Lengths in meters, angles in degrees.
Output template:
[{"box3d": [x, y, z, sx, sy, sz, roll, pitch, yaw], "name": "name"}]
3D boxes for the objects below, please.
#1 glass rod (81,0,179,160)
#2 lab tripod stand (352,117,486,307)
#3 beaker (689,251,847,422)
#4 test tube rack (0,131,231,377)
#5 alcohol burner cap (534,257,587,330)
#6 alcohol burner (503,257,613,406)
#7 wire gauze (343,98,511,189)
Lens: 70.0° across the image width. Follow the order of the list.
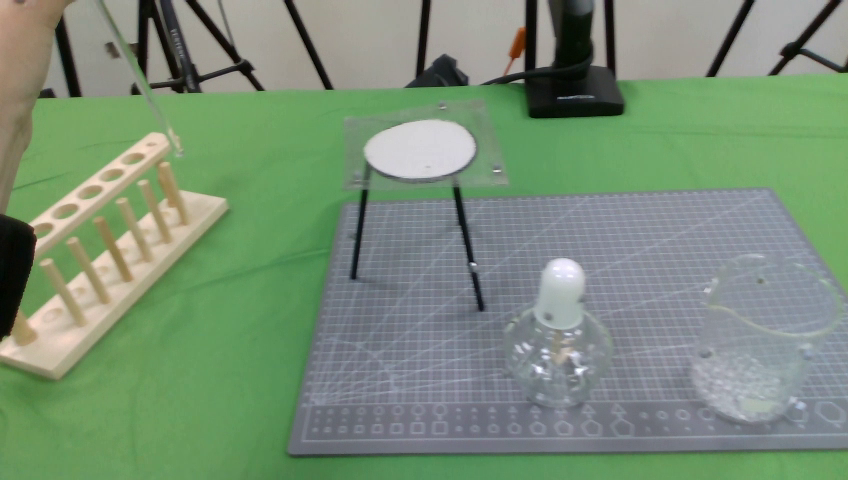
[{"box3d": [-0.180, -0.118, 0.338, 0.008, 0.201, 0.008, -3, 51, 4], "name": "glass rod"}, {"box3d": [0.002, -0.025, 0.519, 0.148, 0.133, 0.147, -3, 42, 3], "name": "lab tripod stand"}, {"box3d": [0.224, 0.070, 0.413, 0.084, 0.101, 0.073, -4, 40, 2], "name": "beaker"}, {"box3d": [-0.285, -0.001, 0.557, 0.066, 0.086, 0.241, 12, 43, 18], "name": "test tube rack"}, {"box3d": [0.092, 0.034, 0.401, 0.034, 0.048, 0.033, 0, 38, 1], "name": "alcohol burner cap"}, {"box3d": [0.095, 0.060, 0.425, 0.078, 0.120, 0.077, -3, 38, 3], "name": "alcohol burner"}, {"box3d": [-0.002, -0.076, 0.475, 0.125, 0.011, 0.120, -5, 40, 0], "name": "wire gauze"}]
